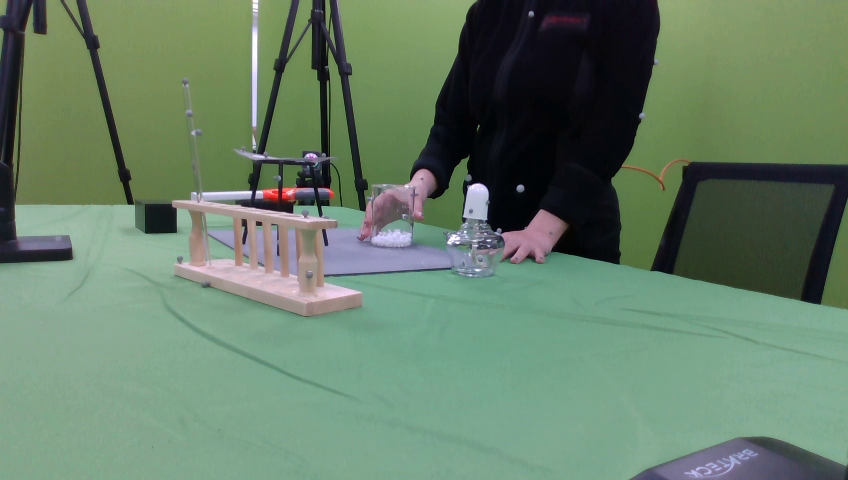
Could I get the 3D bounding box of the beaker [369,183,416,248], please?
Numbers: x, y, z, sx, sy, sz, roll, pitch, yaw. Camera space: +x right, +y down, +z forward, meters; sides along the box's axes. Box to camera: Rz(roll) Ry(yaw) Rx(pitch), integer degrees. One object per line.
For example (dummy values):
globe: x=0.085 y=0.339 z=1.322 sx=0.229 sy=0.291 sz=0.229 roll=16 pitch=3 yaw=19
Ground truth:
beaker: x=-0.050 y=-0.039 z=0.971 sx=0.074 sy=0.100 sz=0.083 roll=-2 pitch=9 yaw=-25

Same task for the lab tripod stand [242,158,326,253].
lab tripod stand: x=-0.207 y=-0.054 z=0.895 sx=0.148 sy=0.131 sz=0.148 roll=3 pitch=5 yaw=0

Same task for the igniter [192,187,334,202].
igniter: x=-0.316 y=-0.090 z=1.213 sx=0.278 sy=0.025 sz=0.057 roll=-5 pitch=13 yaw=-31

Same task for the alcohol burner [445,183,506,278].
alcohol burner: x=0.066 y=-0.013 z=0.770 sx=0.078 sy=0.119 sz=0.078 roll=0 pitch=7 yaw=0

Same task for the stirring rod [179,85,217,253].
stirring rod: x=-0.236 y=-0.073 z=0.634 sx=0.006 sy=0.176 sz=0.014 roll=0 pitch=10 yaw=42

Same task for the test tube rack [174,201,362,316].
test tube rack: x=-0.169 y=0.010 z=0.622 sx=0.241 sy=0.085 sz=0.067 roll=9 pitch=9 yaw=41

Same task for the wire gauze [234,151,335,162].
wire gauze: x=-0.204 y=-0.121 z=0.887 sx=0.122 sy=0.011 sz=0.124 roll=0 pitch=8 yaw=-32

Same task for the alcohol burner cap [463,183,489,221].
alcohol burner cap: x=0.067 y=-0.048 z=0.765 sx=0.034 sy=0.048 sz=0.034 roll=5 pitch=5 yaw=0
